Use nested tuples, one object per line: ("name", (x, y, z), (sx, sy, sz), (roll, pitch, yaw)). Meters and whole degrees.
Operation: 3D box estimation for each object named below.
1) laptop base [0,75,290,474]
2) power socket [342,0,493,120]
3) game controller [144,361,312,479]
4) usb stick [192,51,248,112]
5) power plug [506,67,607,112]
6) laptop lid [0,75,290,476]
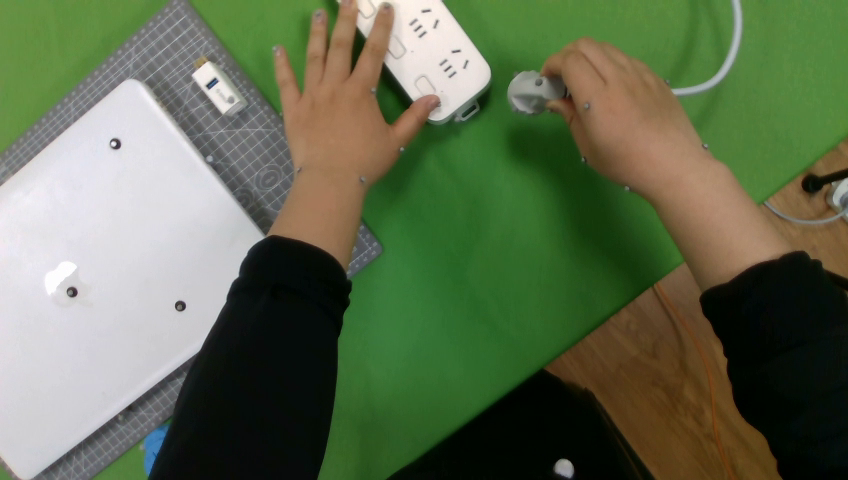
("laptop base", (-0.330, 0.041, 0.583), (0.354, 0.023, 0.236), (-37, 96, 7))
("power socket", (-0.025, -0.206, 0.528), (0.072, 0.032, 0.227), (-36, 93, 8))
("game controller", (-0.194, 0.187, 0.578), (0.155, 0.051, 0.097), (-37, 88, 7))
("usb stick", (-0.188, -0.146, 0.546), (0.021, 0.027, 0.059), (-37, 90, 9))
("power plug", (0.101, -0.116, 0.490), (0.073, 0.052, 0.035), (18, 90, -10))
("laptop lid", (-0.329, 0.044, 0.571), (0.357, 0.013, 0.242), (-35, 95, 7))
